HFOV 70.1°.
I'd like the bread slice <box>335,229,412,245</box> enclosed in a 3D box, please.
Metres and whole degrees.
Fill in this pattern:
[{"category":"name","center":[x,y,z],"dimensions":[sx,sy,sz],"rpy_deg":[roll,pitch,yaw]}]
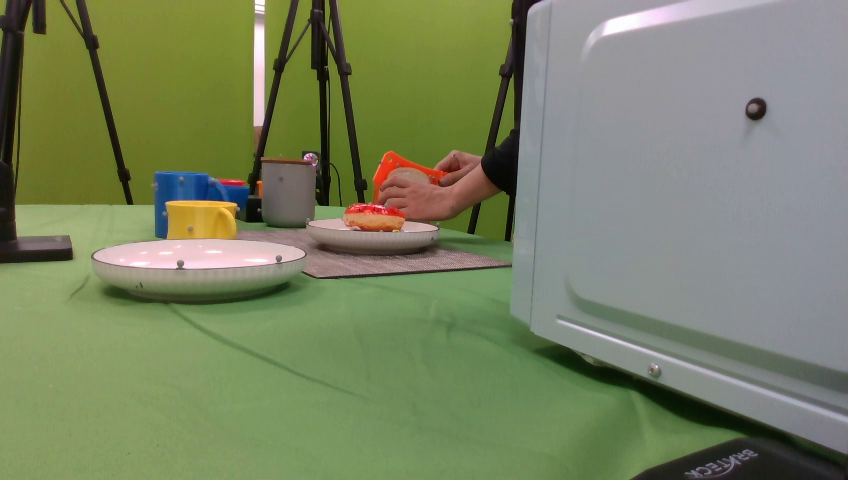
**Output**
[{"category":"bread slice","center":[-0.074,-0.006,0.938],"dimensions":[0.105,0.019,0.131],"rpy_deg":[-2,4,-19]}]

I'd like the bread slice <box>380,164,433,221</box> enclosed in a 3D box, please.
[{"category":"bread slice","center":[-0.036,-0.074,1.124],"dimensions":[0.107,0.134,0.018],"rpy_deg":[-2,13,-26]}]

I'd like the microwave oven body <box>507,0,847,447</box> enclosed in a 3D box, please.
[{"category":"microwave oven body","center":[0.331,-0.042,0.425],"dimensions":[0.444,0.260,0.324],"rpy_deg":[-2,8,-31]}]

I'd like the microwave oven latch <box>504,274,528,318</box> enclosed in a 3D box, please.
[{"category":"microwave oven latch","center":[0.100,0.041,0.471],"dimensions":[0.079,0.029,0.030],"rpy_deg":[-1,8,-28]}]

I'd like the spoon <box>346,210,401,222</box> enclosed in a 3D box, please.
[{"category":"spoon","center":[-0.121,-0.060,1.400],"dimensions":[0.042,0.021,0.192],"rpy_deg":[-28,25,-37]}]

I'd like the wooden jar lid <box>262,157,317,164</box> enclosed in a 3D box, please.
[{"category":"wooden jar lid","center":[-0.269,-0.154,1.208],"dimensions":[0.108,0.020,0.108],"rpy_deg":[3,4,0]}]

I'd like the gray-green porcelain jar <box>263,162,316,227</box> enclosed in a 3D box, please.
[{"category":"gray-green porcelain jar","center":[-0.271,-0.092,1.217],"dimensions":[0.106,0.126,0.106],"rpy_deg":[2,7,0]}]

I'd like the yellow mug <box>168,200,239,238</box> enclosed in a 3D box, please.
[{"category":"yellow mug","center":[-0.319,-0.023,0.904],"dimensions":[0.130,0.064,0.100],"rpy_deg":[9,11,36]}]

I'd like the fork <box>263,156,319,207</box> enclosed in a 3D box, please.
[{"category":"fork","center":[-0.331,-0.144,1.505],"dimensions":[0.207,0.018,0.028],"rpy_deg":[-42,-20,22]}]

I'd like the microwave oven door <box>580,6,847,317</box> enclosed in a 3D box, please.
[{"category":"microwave oven door","center":[0.295,-0.067,0.570],"dimensions":[0.358,0.243,0.039],"rpy_deg":[-3,8,-31]}]

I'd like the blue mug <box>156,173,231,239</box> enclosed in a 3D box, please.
[{"category":"blue mug","center":[-0.381,-0.057,1.004],"dimensions":[0.117,0.106,0.082],"rpy_deg":[0,8,-12]}]

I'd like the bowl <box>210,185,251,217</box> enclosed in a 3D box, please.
[{"category":"bowl","center":[-0.408,-0.064,1.155],"dimensions":[0.151,0.077,0.151],"rpy_deg":[2,8,0]}]

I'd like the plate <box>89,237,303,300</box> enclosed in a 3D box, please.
[{"category":"plate","center":[-0.233,0.029,0.637],"dimensions":[0.208,0.039,0.207],"rpy_deg":[2,7,0]}]

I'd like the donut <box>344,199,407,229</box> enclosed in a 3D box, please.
[{"category":"donut","center":[-0.076,-0.039,0.949],"dimensions":[0.099,0.048,0.099],"rpy_deg":[2,4,0]}]

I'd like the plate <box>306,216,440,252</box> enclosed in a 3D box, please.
[{"category":"plate","center":[-0.079,-0.011,0.950],"dimensions":[0.209,0.038,0.209],"rpy_deg":[2,8,0]}]

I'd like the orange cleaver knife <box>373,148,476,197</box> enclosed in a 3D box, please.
[{"category":"orange cleaver knife","center":[0.004,-0.119,1.147],"dimensions":[0.212,0.077,0.012],"rpy_deg":[9,8,-28]}]
